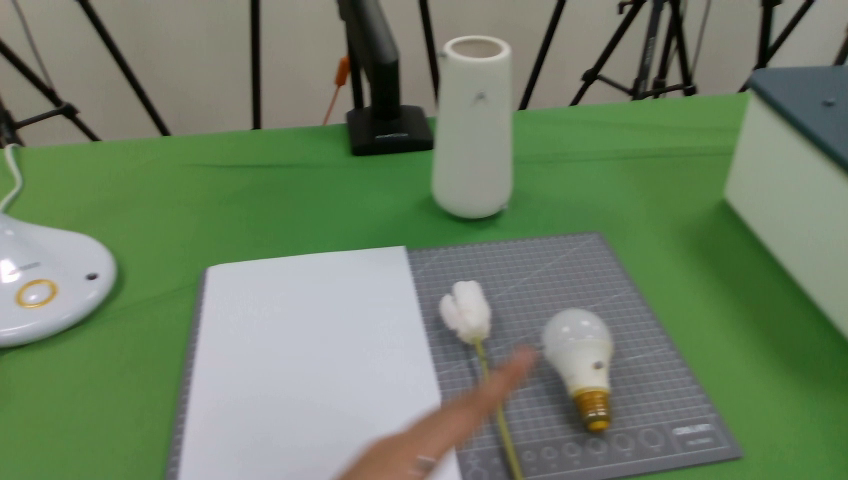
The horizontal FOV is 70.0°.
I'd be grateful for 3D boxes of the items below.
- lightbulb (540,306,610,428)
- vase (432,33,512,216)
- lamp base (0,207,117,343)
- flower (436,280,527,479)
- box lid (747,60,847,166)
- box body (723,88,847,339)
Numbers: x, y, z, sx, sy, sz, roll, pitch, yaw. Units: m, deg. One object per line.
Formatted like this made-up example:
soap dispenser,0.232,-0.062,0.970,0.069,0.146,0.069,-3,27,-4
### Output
lightbulb,0.134,0.107,0.518,0.059,0.060,0.106,-3,54,-3
vase,0.057,-0.126,0.692,0.098,0.202,0.097,-1,38,1
lamp base,-0.408,-0.022,0.571,0.177,0.182,0.160,28,46,33
flower,0.070,0.169,0.471,0.044,0.038,0.357,-30,44,11
box lid,0.497,-0.080,0.541,0.263,0.015,0.367,-5,40,-5
box body,0.505,-0.024,0.598,0.254,0.162,0.360,-5,39,-5
